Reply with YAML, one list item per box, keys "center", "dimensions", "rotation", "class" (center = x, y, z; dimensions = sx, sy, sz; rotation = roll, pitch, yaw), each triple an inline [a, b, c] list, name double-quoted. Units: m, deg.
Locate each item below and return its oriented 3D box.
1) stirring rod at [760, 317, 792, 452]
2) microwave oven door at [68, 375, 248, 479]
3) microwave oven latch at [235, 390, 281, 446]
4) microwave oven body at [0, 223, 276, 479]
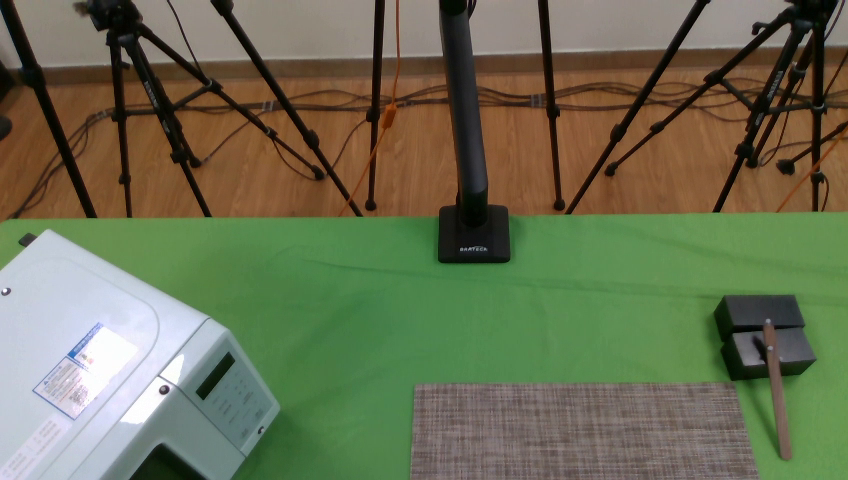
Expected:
- center: [0.469, 0.191, 0.807]
  dimensions: [0.014, 0.006, 0.175]
  rotation: [-5, 78, 13]
  class: "stirring rod"
- center: [-0.345, 0.336, 0.637]
  dimensions: [0.039, 0.246, 0.354]
  rotation: [23, 59, 20]
  class: "microwave oven door"
- center: [-0.228, 0.238, 0.825]
  dimensions: [0.030, 0.030, 0.079]
  rotation: [25, 61, 20]
  class: "microwave oven latch"
- center: [-0.450, 0.255, 0.709]
  dimensions: [0.324, 0.262, 0.440]
  rotation: [23, 60, 19]
  class: "microwave oven body"
